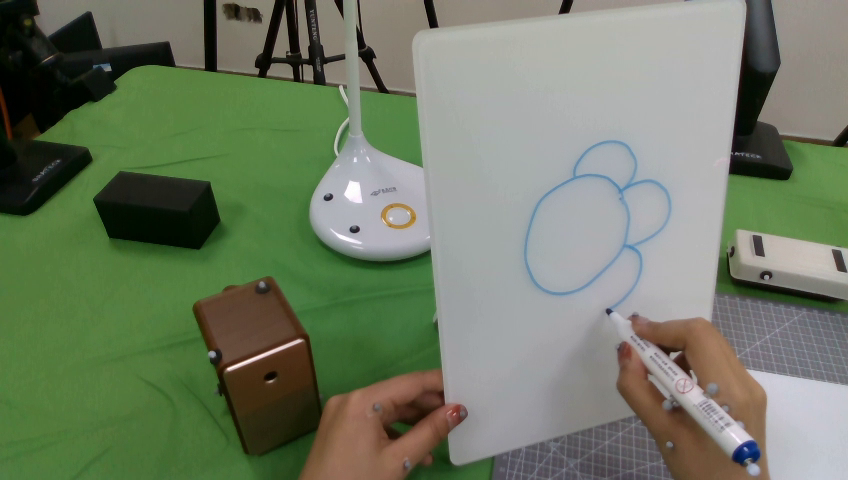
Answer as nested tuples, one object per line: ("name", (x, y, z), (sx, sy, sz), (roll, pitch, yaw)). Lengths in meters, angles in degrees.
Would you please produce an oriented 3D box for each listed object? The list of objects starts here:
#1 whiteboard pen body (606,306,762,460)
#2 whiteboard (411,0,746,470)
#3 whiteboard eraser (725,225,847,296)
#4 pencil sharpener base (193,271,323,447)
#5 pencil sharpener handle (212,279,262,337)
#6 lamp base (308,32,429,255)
("whiteboard pen body", (0.150, 0.079, 0.372), (0.017, 0.017, 0.139), (-12, 31, -14))
("whiteboard", (0.092, -0.017, 0.465), (0.218, 0.307, 0.142), (-11, 24, -12))
("whiteboard eraser", (0.353, 0.022, 0.586), (0.112, 0.042, 0.055), (10, 41, 11))
("pencil sharpener base", (-0.121, 0.087, 0.449), (0.061, 0.108, 0.076), (-21, 46, -23))
("pencil sharpener handle", (-0.145, 0.048, 0.474), (0.036, 0.068, 0.030), (-27, 48, -16))
("lamp base", (-0.051, -0.104, 0.612), (0.161, 0.182, 0.177), (-25, 45, -26))
